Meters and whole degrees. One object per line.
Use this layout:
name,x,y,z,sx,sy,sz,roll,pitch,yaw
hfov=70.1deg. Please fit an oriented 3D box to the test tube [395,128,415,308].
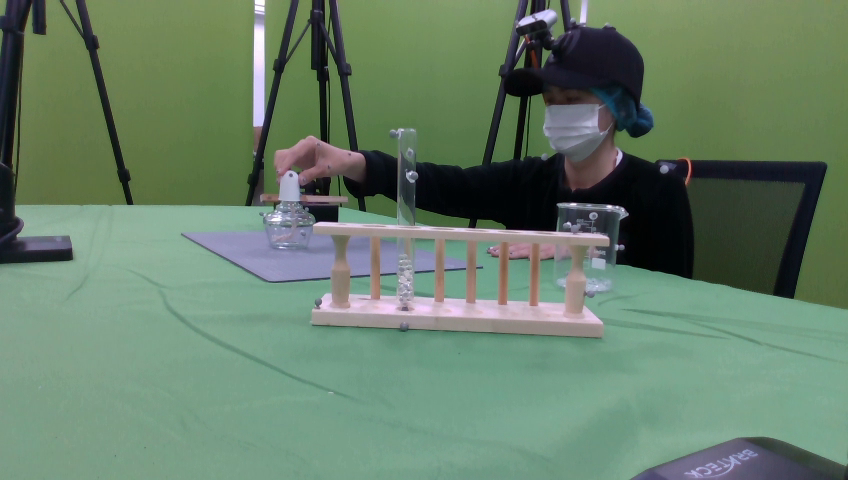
test tube,-0.016,-0.016,0.502,0.017,0.150,0.017,1,10,0

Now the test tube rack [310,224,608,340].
test tube rack,0.028,0.032,0.528,0.242,0.085,0.067,3,7,0

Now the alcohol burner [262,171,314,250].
alcohol burner,-0.205,-0.045,0.913,0.078,0.119,0.078,1,9,0

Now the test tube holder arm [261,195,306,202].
test tube holder arm,-0.275,-0.081,1.185,0.088,0.015,0.010,-1,1,-32

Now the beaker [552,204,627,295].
beaker,0.191,0.010,0.708,0.083,0.100,0.074,8,9,33

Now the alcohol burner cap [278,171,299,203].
alcohol burner cap,-0.202,-0.080,0.908,0.034,0.048,0.034,4,10,0

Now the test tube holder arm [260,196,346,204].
test tube holder arm,-0.239,-0.081,1.214,0.179,0.015,0.013,-1,1,-32
